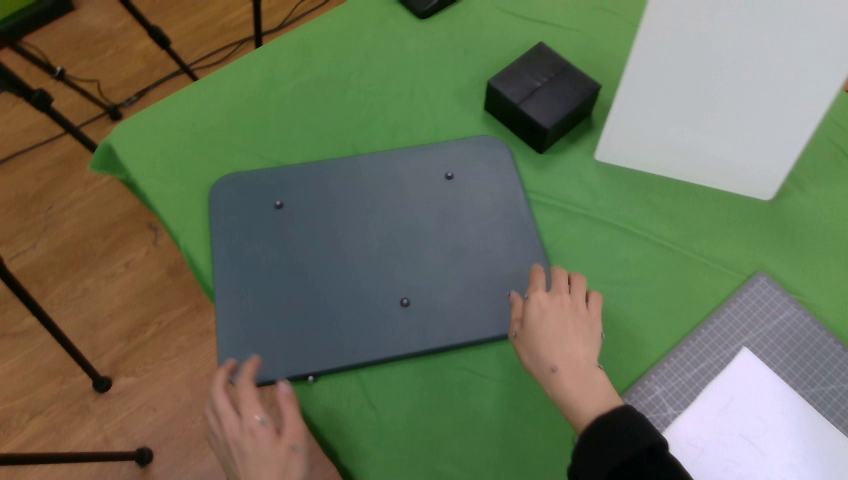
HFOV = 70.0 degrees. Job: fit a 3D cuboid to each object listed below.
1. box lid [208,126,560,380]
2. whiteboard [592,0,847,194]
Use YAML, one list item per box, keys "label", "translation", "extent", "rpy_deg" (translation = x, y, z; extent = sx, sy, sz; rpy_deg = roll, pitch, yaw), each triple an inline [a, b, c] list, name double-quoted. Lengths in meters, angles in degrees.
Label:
- label: "box lid"
  translation: [-0.054, 0.001, 0.684]
  extent: [0.372, 0.015, 0.261]
  rpy_deg: [-10, 64, -7]
- label: "whiteboard"
  translation: [0.346, -0.234, 0.682]
  extent: [0.217, 0.308, 0.143]
  rpy_deg: [15, 45, 7]
